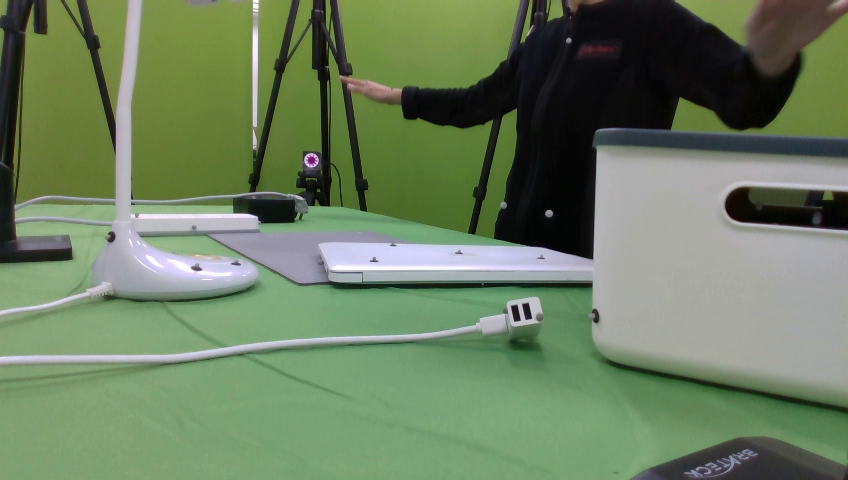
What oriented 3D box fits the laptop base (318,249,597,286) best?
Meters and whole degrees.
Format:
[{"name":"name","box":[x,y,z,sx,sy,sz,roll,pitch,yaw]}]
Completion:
[{"name":"laptop base","box":[0.046,0.034,0.789,0.355,0.023,0.235,1,5,-14]}]

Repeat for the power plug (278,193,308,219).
[{"name":"power plug","box":[-0.293,-0.077,1.344,0.073,0.052,0.035,17,16,-16]}]

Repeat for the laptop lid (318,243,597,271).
[{"name":"laptop lid","box":[0.046,0.022,0.789,0.358,0.013,0.241,1,6,-12]}]

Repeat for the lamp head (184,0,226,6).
[{"name":"lamp head","box":[-0.229,-0.320,0.627,0.112,0.112,0.123,6,-35,26]}]

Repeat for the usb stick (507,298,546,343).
[{"name":"usb stick","box":[0.079,0.065,0.470,0.027,0.021,0.059,-12,-24,4]}]

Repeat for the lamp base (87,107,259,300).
[{"name":"lamp base","box":[-0.254,-0.039,0.603,0.160,0.180,0.179,5,10,18]}]

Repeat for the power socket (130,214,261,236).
[{"name":"power socket","box":[-0.397,-0.028,1.048,0.228,0.032,0.072,-3,8,-35]}]

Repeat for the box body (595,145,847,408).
[{"name":"box body","box":[0.309,0.006,0.510,0.253,0.160,0.366,6,8,29]}]

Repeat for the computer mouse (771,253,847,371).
[{"name":"computer mouse","box":[0.344,0.056,0.518,0.063,0.041,0.117,13,48,2]}]

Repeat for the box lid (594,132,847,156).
[{"name":"box lid","box":[0.310,-0.066,0.499,0.262,0.015,0.373,7,8,29]}]
